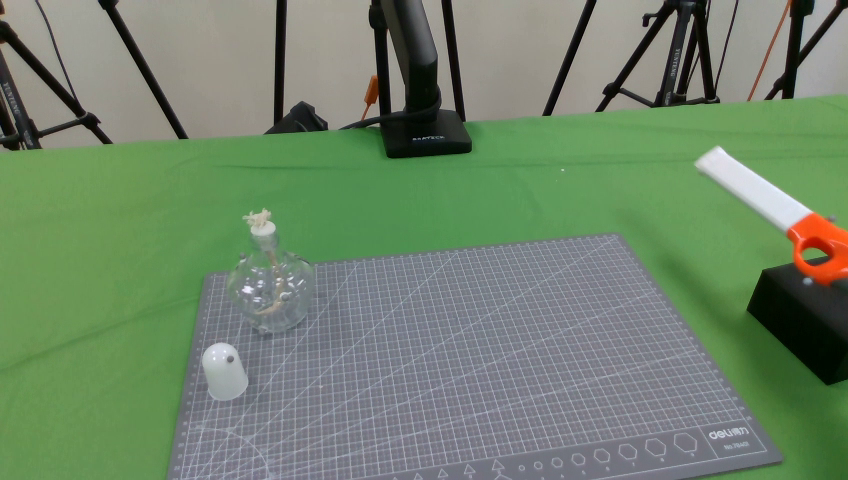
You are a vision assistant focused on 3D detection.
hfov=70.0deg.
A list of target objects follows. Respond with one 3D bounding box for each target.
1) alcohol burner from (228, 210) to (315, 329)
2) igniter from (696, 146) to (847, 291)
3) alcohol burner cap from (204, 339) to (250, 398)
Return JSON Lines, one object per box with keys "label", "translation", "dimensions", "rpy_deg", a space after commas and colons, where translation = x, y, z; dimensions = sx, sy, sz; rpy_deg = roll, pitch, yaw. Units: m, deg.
{"label": "alcohol burner", "translation": [-0.137, 0.022, 0.540], "dimensions": [0.078, 0.120, 0.077], "rpy_deg": [2, 38, -1]}
{"label": "igniter", "translation": [0.331, -0.006, 0.520], "dimensions": [0.057, 0.025, 0.273], "rpy_deg": [-36, 38, 8]}
{"label": "alcohol burner cap", "translation": [-0.161, 0.101, 0.492], "dimensions": [0.034, 0.048, 0.033], "rpy_deg": [1, 37, 0]}
